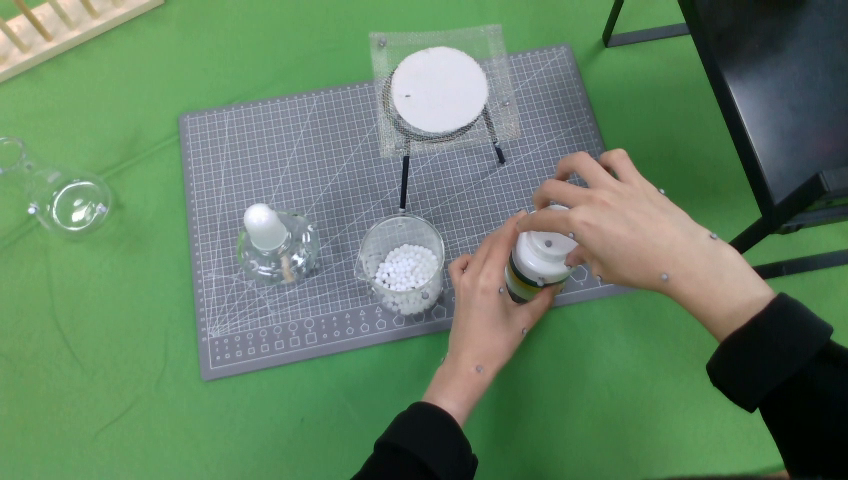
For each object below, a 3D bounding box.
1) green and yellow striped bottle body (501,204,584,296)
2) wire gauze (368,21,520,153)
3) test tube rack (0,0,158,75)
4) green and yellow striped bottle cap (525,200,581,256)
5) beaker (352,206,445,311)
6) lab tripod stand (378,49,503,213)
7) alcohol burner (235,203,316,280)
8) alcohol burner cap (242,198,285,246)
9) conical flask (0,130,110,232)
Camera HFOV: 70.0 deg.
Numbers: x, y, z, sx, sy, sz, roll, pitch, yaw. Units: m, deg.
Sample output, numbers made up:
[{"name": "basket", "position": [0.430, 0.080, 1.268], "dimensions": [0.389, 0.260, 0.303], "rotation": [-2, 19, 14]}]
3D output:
[{"name": "green and yellow striped bottle body", "position": [0.108, 0.008, 0.557], "dimensions": [0.063, 0.120, 0.063], "rotation": [0, 71, 1]}, {"name": "wire gauze", "position": [0.016, -0.138, 0.529], "dimensions": [0.121, 0.011, 0.124], "rotation": [-6, 72, -3]}, {"name": "test tube rack", "position": [-0.434, -0.271, 0.678], "dimensions": [0.242, 0.085, 0.066], "rotation": [-31, 73, -9]}, {"name": "green and yellow striped bottle cap", "position": [0.108, -0.010, 0.503], "dimensions": [0.045, 0.020, 0.045], "rotation": [0, 79, 1]}, {"name": "beaker", "position": [-0.021, 0.024, 0.564], "dimensions": [0.084, 0.101, 0.073], "rotation": [-23, 72, -6]}, {"name": "lab tripod stand", "position": [0.010, -0.110, 0.591], "dimensions": [0.148, 0.132, 0.147], "rotation": [0, 69, 0]}, {"name": "alcohol burner", "position": [-0.142, -0.004, 0.568], "dimensions": [0.078, 0.120, 0.077], "rotation": [0, 69, -1]}, {"name": "alcohol burner cap", "position": [-0.144, -0.018, 0.534], "dimensions": [0.034, 0.048, 0.033], "rotation": [1, 64, -1]}, {"name": "conical flask", "position": [-0.370, -0.061, 0.588], "dimensions": [0.075, 0.122, 0.075], "rotation": [0, 71, 1]}]
